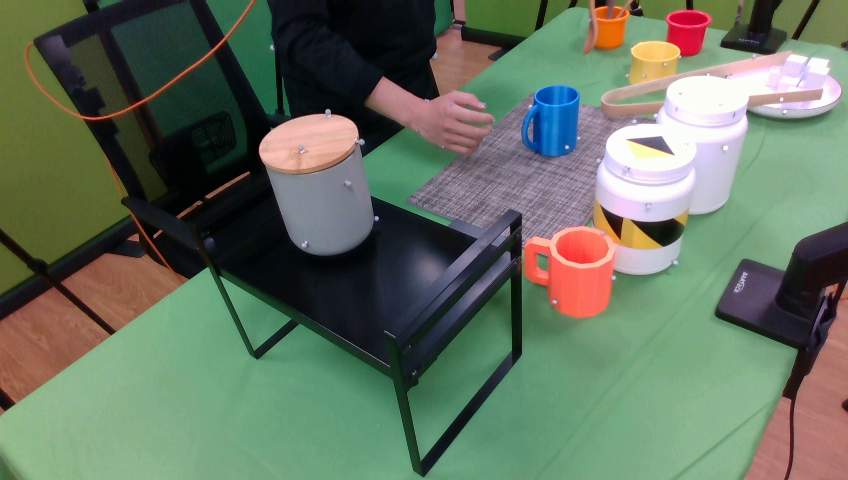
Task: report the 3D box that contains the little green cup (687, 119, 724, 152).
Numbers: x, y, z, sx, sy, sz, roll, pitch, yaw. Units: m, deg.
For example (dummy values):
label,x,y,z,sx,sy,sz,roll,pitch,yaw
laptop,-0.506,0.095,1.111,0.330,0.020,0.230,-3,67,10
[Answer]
label,x,y,z,sx,sy,sz,roll,pitch,yaw
little green cup,0.514,-0.191,1.109,0.061,0.039,0.061,-5,40,5

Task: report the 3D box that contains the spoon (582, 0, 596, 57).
label,x,y,z,sx,sy,sz,roll,pitch,yaw
spoon,0.289,-0.416,1.037,0.021,0.194,0.041,-2,20,-1

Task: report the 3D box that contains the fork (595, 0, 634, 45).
label,x,y,z,sx,sy,sz,roll,pitch,yaw
fork,0.484,-0.552,1.447,0.207,0.019,0.028,-51,47,17

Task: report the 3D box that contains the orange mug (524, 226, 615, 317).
label,x,y,z,sx,sy,sz,roll,pitch,yaw
orange mug,0.201,0.039,0.845,0.125,0.101,0.083,18,46,21

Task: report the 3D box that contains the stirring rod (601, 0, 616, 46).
label,x,y,z,sx,sy,sz,roll,pitch,yaw
stirring rod,0.452,-0.554,1.464,0.014,0.006,0.176,11,86,15

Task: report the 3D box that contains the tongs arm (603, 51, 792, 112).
label,x,y,z,sx,sy,sz,roll,pitch,yaw
tongs arm,0.552,-0.320,1.224,0.384,0.027,0.050,-11,44,7

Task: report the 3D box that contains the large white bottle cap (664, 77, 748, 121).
label,x,y,z,sx,sy,sz,roll,pitch,yaw
large white bottle cap,0.421,-0.212,0.905,0.115,0.018,0.114,-4,40,4

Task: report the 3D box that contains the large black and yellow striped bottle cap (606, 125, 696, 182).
label,x,y,z,sx,sy,sz,roll,pitch,yaw
large black and yellow striped bottle cap,0.305,-0.119,0.816,0.115,0.019,0.114,-5,41,5

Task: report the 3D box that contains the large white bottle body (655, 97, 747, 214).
label,x,y,z,sx,sy,sz,roll,pitch,yaw
large white bottle body,0.430,-0.148,0.959,0.130,0.185,0.130,-4,41,4

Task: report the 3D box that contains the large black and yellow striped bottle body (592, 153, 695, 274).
label,x,y,z,sx,sy,sz,roll,pitch,yaw
large black and yellow striped bottle body,0.313,-0.056,0.872,0.131,0.185,0.130,-4,41,4

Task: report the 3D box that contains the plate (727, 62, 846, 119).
label,x,y,z,sx,sy,sz,roll,pitch,yaw
plate,0.709,-0.292,1.197,0.207,0.039,0.206,-4,40,4

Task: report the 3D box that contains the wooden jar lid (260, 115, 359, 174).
label,x,y,z,sx,sy,sz,roll,pitch,yaw
wooden jar lid,-0.124,-0.101,0.662,0.108,0.021,0.108,-4,41,4

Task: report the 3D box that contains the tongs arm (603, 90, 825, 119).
label,x,y,z,sx,sy,sz,roll,pitch,yaw
tongs arm,0.546,-0.261,1.163,0.386,0.028,0.028,-1,50,18

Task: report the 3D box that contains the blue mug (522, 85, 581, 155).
label,x,y,z,sx,sy,sz,roll,pitch,yaw
blue mug,0.233,-0.218,1.127,0.117,0.106,0.081,-23,43,-16

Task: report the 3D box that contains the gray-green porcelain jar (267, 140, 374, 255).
label,x,y,z,sx,sy,sz,roll,pitch,yaw
gray-green porcelain jar,-0.117,-0.054,0.703,0.106,0.127,0.105,-4,40,4

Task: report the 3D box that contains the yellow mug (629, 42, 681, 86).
label,x,y,z,sx,sy,sz,roll,pitch,yaw
yellow mug,0.495,-0.389,1.321,0.100,0.064,0.130,-14,40,-6
